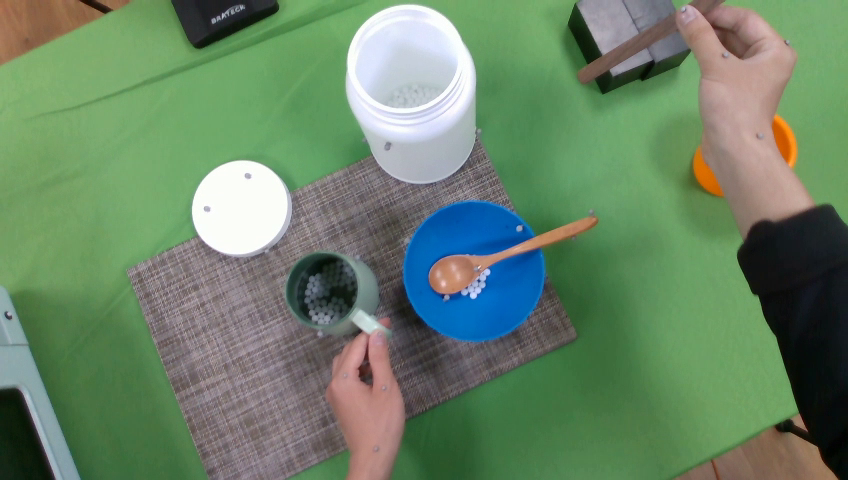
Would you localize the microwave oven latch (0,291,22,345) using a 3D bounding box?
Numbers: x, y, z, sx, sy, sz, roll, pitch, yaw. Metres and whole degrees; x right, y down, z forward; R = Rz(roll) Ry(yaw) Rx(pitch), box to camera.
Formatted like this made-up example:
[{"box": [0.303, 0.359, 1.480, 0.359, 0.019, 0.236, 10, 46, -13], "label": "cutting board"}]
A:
[{"box": [-0.494, 0.088, 0.693, 0.030, 0.029, 0.079, -27, 82, -2], "label": "microwave oven latch"}]

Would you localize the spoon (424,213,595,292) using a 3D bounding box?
[{"box": [0.088, 0.012, 0.643, 0.193, 0.022, 0.041, -21, 83, 23], "label": "spoon"}]

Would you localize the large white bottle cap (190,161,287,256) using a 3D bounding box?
[{"box": [-0.221, -0.038, 0.723, 0.115, 0.018, 0.114, 0, 81, 2], "label": "large white bottle cap"}]

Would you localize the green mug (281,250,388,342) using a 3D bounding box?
[{"box": [-0.091, 0.067, 0.659, 0.125, 0.105, 0.092, 37, 84, 7], "label": "green mug"}]

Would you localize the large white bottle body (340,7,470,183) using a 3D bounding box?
[{"box": [-0.016, -0.148, 0.645, 0.130, 0.185, 0.130, -1, 78, 4], "label": "large white bottle body"}]

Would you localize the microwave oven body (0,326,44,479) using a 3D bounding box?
[{"box": [-0.552, 0.295, 0.569, 0.326, 0.261, 0.440, -27, 82, -2], "label": "microwave oven body"}]

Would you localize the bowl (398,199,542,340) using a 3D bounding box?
[{"box": [0.050, 0.035, 0.671, 0.151, 0.077, 0.151, 0, 82, 3], "label": "bowl"}]

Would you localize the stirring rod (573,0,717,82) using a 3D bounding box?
[{"box": [0.199, -0.180, 0.504, 0.006, 0.176, 0.014, -39, 100, -47], "label": "stirring rod"}]

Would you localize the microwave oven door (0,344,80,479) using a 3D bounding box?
[{"box": [-0.402, 0.266, 0.562, 0.039, 0.244, 0.354, -27, 82, -1], "label": "microwave oven door"}]
